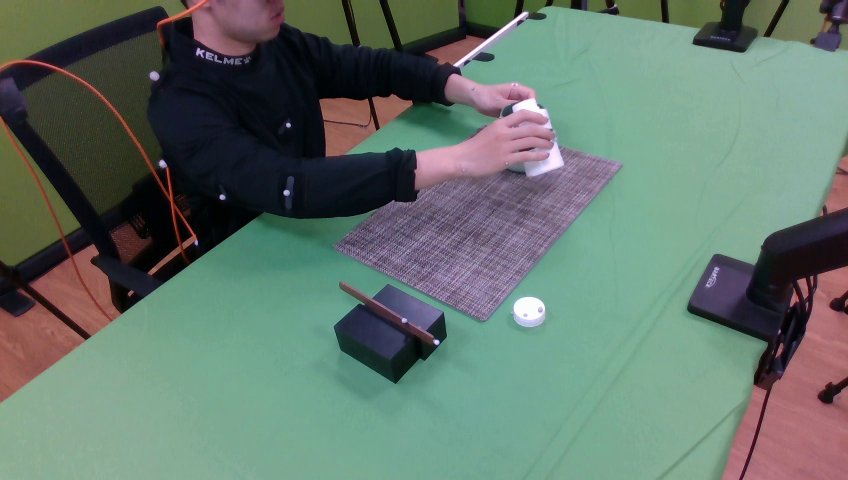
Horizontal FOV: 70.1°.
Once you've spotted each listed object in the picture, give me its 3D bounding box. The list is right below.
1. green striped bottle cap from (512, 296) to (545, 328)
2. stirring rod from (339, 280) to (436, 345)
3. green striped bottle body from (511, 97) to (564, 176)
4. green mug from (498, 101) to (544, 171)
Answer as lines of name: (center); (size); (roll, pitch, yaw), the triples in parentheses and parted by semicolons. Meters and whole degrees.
green striped bottle cap: (0.144, 0.099, 0.837); (0.044, 0.020, 0.044); (-2, 44, 2)
stirring rod: (-0.052, 0.093, 0.795); (0.174, 0.014, 0.006); (27, 47, 33)
green striped bottle body: (0.180, -0.168, 0.976); (0.063, 0.119, 0.063); (-17, 1, 1)
green mug: (0.182, -0.197, 1.101); (0.092, 0.105, 0.125); (3, 42, 12)
